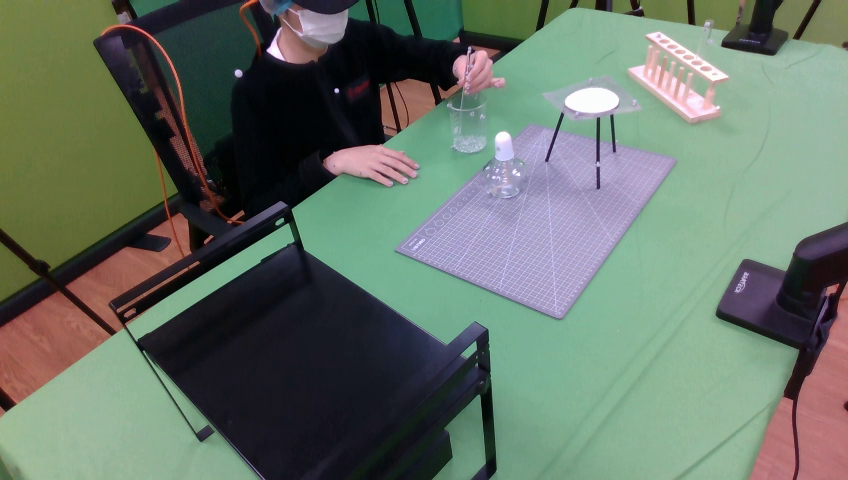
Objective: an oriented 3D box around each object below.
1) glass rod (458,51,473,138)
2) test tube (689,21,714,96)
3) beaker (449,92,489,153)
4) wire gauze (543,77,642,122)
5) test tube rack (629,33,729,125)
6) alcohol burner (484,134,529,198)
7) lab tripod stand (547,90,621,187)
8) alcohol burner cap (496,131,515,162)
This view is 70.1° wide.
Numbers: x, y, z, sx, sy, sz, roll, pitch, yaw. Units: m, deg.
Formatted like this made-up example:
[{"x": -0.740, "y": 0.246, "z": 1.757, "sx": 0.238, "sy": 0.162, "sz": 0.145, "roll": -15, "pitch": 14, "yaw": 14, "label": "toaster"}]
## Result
[{"x": 0.078, "y": -0.267, "z": 1.134, "sx": 0.008, "sy": 0.200, "sz": 0.008, "roll": 2, "pitch": 52, "yaw": -2, "label": "glass rod"}, {"x": 0.542, "y": -0.353, "z": 1.184, "sx": 0.017, "sy": 0.151, "sz": 0.017, "roll": -2, "pitch": 40, "yaw": 2, "label": "test tube"}, {"x": 0.091, "y": -0.228, "z": 1.177, "sx": 0.073, "sy": 0.101, "sz": 0.084, "roll": 15, "pitch": 45, "yaw": 24, "label": "beaker"}, {"x": 0.282, "y": -0.236, "z": 1.020, "sx": 0.125, "sy": 0.011, "sz": 0.120, "roll": -15, "pitch": 40, "yaw": -6, "label": "wire gauze"}, {"x": 0.516, "y": -0.337, "z": 1.248, "sx": 0.067, "sy": 0.085, "sz": 0.240, "roll": -14, "pitch": 41, "yaw": -7, "label": "test tube rack"}, {"x": 0.141, "y": -0.133, "z": 1.041, "sx": 0.078, "sy": 0.119, "sz": 0.077, "roll": -4, "pitch": 43, "yaw": 5, "label": "alcohol burner"}, {"x": 0.289, "y": -0.184, "z": 1.062, "sx": 0.148, "sy": 0.132, "sz": 0.147, "roll": -6, "pitch": 41, "yaw": 6, "label": "lab tripod stand"}, {"x": 0.135, "y": -0.160, "z": 1.019, "sx": 0.034, "sy": 0.048, "sz": 0.033, "roll": -8, "pitch": 37, "yaw": 7, "label": "alcohol burner cap"}]
